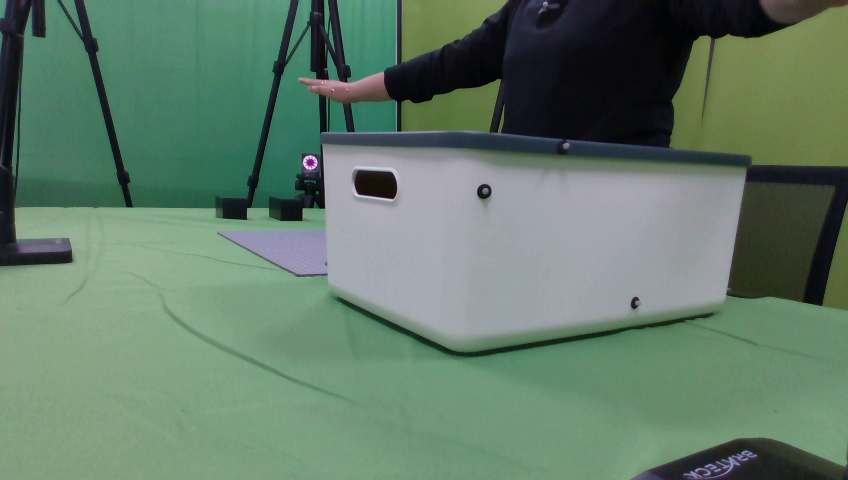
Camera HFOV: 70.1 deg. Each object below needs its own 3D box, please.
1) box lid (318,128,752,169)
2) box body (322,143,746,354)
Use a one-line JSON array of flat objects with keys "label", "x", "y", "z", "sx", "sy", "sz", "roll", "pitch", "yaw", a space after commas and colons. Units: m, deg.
[{"label": "box lid", "x": 0.107, "y": -0.085, "z": 0.593, "sx": 0.373, "sy": 0.015, "sz": 0.262, "roll": -1, "pitch": 8, "yaw": -34}, {"label": "box body", "x": 0.106, "y": -0.011, "z": 0.603, "sx": 0.366, "sy": 0.160, "sz": 0.253, "roll": -2, "pitch": 8, "yaw": -34}]
